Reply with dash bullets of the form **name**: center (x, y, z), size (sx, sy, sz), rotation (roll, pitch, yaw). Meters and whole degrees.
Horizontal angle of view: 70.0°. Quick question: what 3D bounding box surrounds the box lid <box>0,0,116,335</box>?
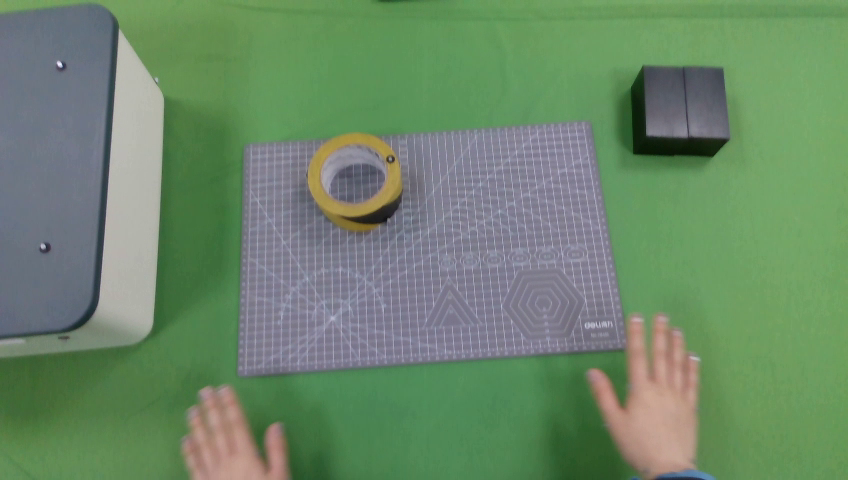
- **box lid**: center (-0.451, -0.084, 0.613), size (0.263, 0.015, 0.369), rotation (-5, 74, -1)

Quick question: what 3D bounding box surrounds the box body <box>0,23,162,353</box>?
- **box body**: center (-0.450, -0.059, 0.683), size (0.254, 0.161, 0.361), rotation (-5, 73, -1)

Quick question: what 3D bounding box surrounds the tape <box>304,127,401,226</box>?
- **tape**: center (-0.085, -0.076, 0.737), size (0.117, 0.053, 0.116), rotation (0, 73, 1)
